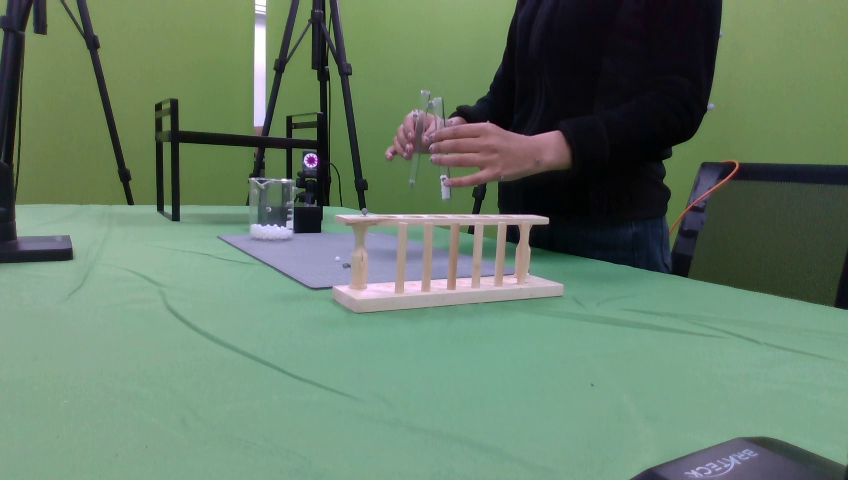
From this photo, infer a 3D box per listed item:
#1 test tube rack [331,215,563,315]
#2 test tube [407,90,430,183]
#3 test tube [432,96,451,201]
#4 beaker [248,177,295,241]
[{"bbox_3d":[0.031,0.019,0.625,0.243,0.085,0.066,-1,8,-28],"label":"test tube rack"},{"bbox_3d":[-0.009,-0.161,0.956,0.017,0.150,0.017,8,24,-3],"label":"test tube"},{"bbox_3d":[0.026,-0.131,0.865,0.017,0.150,0.017,-5,1,0],"label":"test tube"},{"bbox_3d":[-0.252,-0.051,0.992,0.074,0.100,0.084,3,9,6],"label":"beaker"}]
